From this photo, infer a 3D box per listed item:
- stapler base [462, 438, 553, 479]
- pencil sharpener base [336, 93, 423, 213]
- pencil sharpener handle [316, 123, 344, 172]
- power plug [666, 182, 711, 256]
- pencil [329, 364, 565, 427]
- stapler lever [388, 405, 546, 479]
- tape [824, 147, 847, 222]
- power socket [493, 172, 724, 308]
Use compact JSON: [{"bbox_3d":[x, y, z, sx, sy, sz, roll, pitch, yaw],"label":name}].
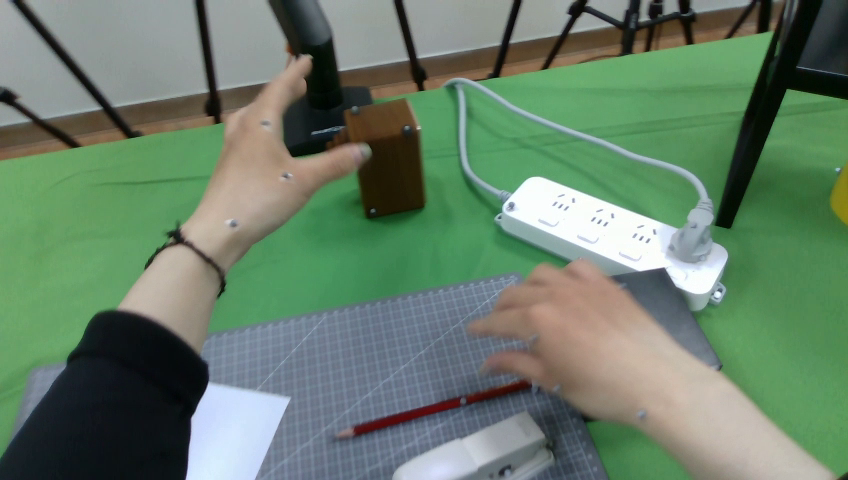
[{"bbox_3d":[0.031,0.166,0.437,0.131,0.024,0.041,-23,50,-18],"label":"stapler base"},{"bbox_3d":[-0.047,-0.088,0.632,0.077,0.108,0.060,-13,47,-7],"label":"pencil sharpener base"},{"bbox_3d":[-0.099,-0.090,0.619,0.031,0.068,0.035,-13,69,-7],"label":"pencil sharpener handle"},{"bbox_3d":[0.251,-0.011,0.554,0.072,0.053,0.035,-37,54,-26],"label":"power plug"},{"bbox_3d":[0.020,0.126,0.485,0.194,0.012,0.012,-12,46,-6],"label":"pencil"},{"bbox_3d":[0.031,0.147,0.420,0.118,0.040,0.026,-23,50,-18],"label":"stapler lever"},{"bbox_3d":[0.469,-0.054,0.598,0.117,0.053,0.115,-2,47,3],"label":"tape"},{"bbox_3d":[0.175,-0.006,0.588,0.225,0.033,0.072,26,53,26],"label":"power socket"}]
